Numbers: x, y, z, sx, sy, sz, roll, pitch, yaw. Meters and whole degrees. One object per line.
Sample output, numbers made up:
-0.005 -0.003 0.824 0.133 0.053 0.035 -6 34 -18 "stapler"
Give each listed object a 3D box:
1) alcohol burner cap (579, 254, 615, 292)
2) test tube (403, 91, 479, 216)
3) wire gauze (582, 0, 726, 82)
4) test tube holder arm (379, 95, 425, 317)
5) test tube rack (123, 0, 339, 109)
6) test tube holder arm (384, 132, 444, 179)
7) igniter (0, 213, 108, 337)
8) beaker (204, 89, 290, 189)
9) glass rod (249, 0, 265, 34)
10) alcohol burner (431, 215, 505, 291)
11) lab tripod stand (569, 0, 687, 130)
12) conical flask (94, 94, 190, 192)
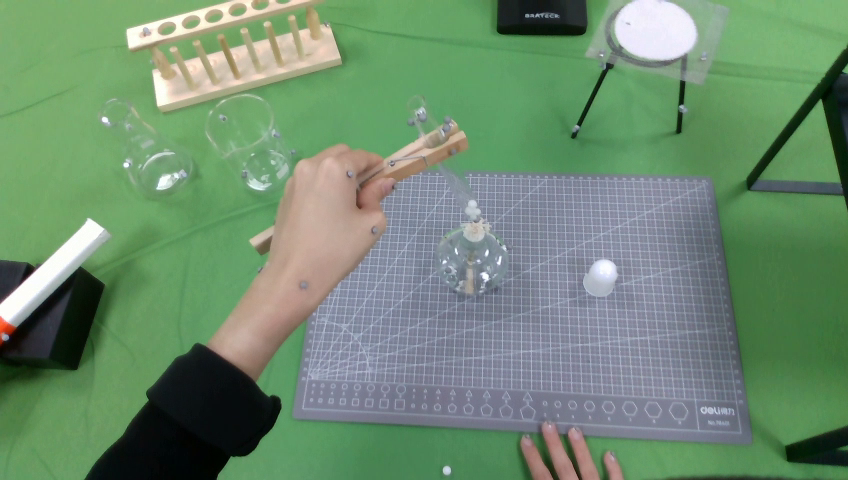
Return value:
0.184 0.032 0.641 0.034 0.048 0.033 -1 65 2 "alcohol burner cap"
0.018 -0.063 0.485 0.017 0.152 0.017 -11 57 17 "test tube"
0.244 -0.226 0.637 0.121 0.011 0.124 23 69 11 "wire gauze"
-0.019 -0.024 0.486 0.015 0.013 0.178 3 98 -28 "test tube holder arm"
-0.240 -0.250 0.773 0.242 0.086 0.066 -17 65 -5 "test tube rack"
-0.010 -0.061 0.471 0.015 0.088 0.010 7 72 -24 "test tube holder arm"
-0.432 0.082 0.605 0.057 0.025 0.276 28 69 25 "igniter"
-0.200 -0.109 0.697 0.074 0.101 0.083 16 67 11 "beaker"
-0.217 -0.310 0.726 0.008 0.201 0.008 -4 58 7 "glass rod"
0.046 0.007 0.619 0.078 0.120 0.077 0 63 1 "alcohol burner"
0.240 -0.196 0.698 0.148 0.132 0.147 0 64 1 "lab tripod stand"
-0.326 -0.115 0.693 0.075 0.123 0.074 -1 64 3 "conical flask"
